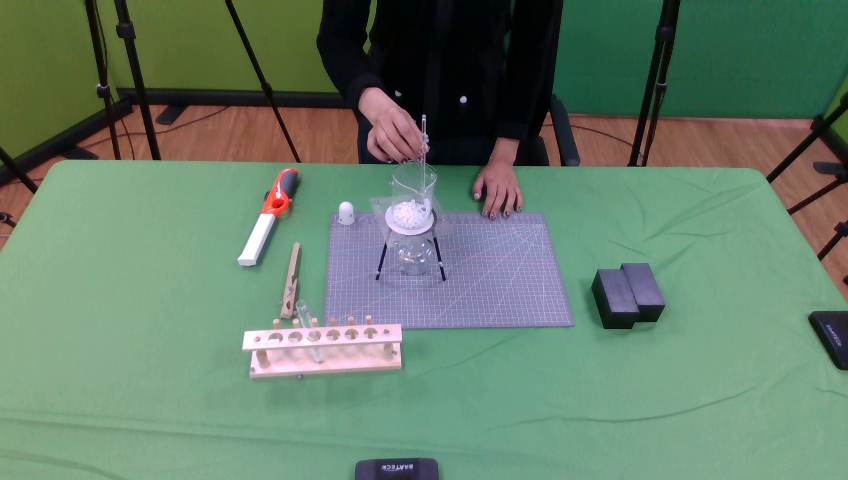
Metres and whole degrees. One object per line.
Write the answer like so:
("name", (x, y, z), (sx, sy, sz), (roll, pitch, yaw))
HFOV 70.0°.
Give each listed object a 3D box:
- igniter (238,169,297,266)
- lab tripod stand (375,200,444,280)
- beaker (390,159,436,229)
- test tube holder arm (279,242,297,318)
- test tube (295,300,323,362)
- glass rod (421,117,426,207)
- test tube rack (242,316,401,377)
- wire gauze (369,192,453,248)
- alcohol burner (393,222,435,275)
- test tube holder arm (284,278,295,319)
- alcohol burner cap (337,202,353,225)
("igniter", (-0.313, -0.054, 1.225), (0.057, 0.025, 0.275), (1, 45, 10))
("lab tripod stand", (-0.023, 0.004, 1.114), (0.148, 0.132, 0.147), (4, 45, -3))
("beaker", (-0.020, -0.073, 1.029), (0.074, 0.101, 0.083), (-10, 48, -16))
("test tube holder arm", (-0.249, 0.069, 1.114), (0.013, 0.015, 0.177), (26, 38, -28))
("test tube", (-0.176, 0.143, 0.935), (0.017, 0.151, 0.017), (-2, 46, 2))
("glass rod", (0.000, -0.122, 0.999), (0.008, 0.201, 0.008), (0, 50, 0))
("test tube rack", (-0.160, 0.166, 0.983), (0.242, 0.085, 0.066), (-2, 46, -6))
("wire gauze", (-0.025, -0.041, 1.065), (0.122, 0.011, 0.124), (-10, 46, -18))
("alcohol burner", (-0.018, 0.009, 1.123), (0.078, 0.119, 0.077), (3, 47, -3))
("test tube holder arm", (-0.242, 0.103, 1.085), (0.010, 0.015, 0.087), (26, 38, -27))
("alcohol burner cap", (-0.161, -0.056, 1.223), (0.034, 0.048, 0.033), (2, 46, -2))
